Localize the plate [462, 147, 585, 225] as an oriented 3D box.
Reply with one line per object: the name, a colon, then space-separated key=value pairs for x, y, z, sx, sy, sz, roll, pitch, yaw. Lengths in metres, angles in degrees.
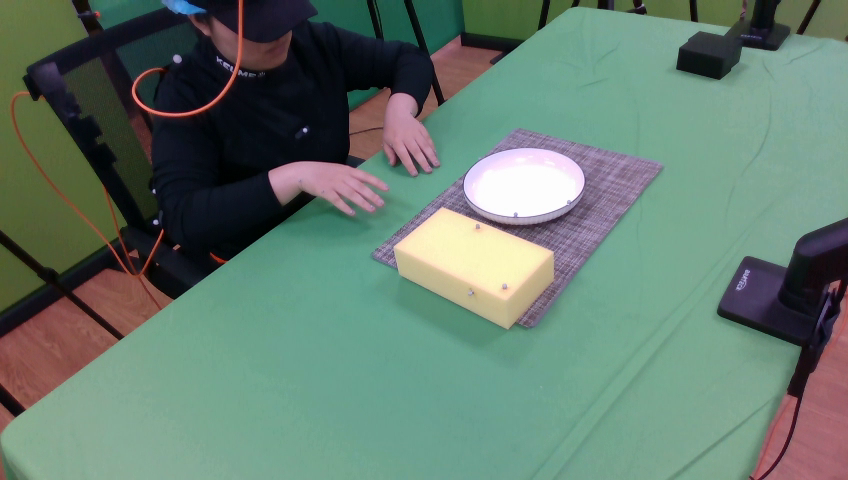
plate: x=0.170 y=-0.089 z=1.041 sx=0.207 sy=0.039 sz=0.206 roll=-5 pitch=40 yaw=5

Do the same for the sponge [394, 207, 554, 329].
sponge: x=0.073 y=0.035 z=0.895 sx=0.205 sy=0.061 sz=0.118 roll=24 pitch=50 yaw=33
